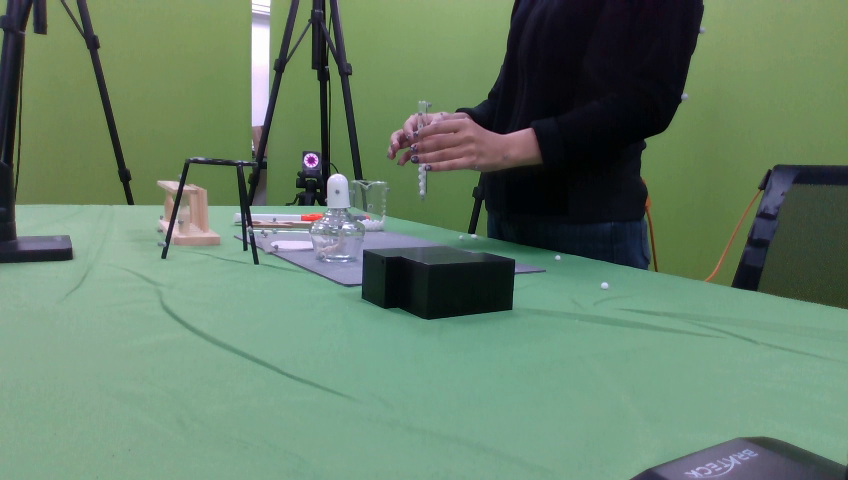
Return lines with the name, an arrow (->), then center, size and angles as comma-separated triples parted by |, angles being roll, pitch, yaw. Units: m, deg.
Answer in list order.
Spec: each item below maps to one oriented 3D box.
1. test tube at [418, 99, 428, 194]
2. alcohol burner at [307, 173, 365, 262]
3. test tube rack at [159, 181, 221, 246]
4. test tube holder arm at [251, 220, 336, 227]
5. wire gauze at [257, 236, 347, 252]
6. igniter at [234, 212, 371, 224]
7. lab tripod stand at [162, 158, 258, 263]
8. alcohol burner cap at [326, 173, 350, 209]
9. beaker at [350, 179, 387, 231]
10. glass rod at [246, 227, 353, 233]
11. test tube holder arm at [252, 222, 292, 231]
test tube -> -0.003, -0.148, 0.962 | 0.017, 0.150, 0.017 | 0, 5, 0
alcohol burner -> -0.117, -0.030, 0.813 | 0.078, 0.119, 0.078 | 4, 9, 0
test tube rack -> -0.395, -0.050, 1.010 | 0.067, 0.085, 0.241 | -2, 8, -28
test tube holder arm -> -0.253, -0.031, 1.156 | 0.179, 0.015, 0.013 | -2, 43, -30
wire gauze -> -0.190, 0.006, 0.931 | 0.122, 0.011, 0.124 | 1, 7, -21
igniter -> -0.246, -0.045, 1.248 | 0.278, 0.025, 0.057 | -1, -2, -25
lab tripod stand -> -0.265, -0.041, 0.802 | 0.148, 0.131, 0.148 | 4, 7, 0
alcohol burner cap -> -0.117, -0.065, 0.807 | 0.034, 0.048, 0.034 | -4, 10, 1
beaker -> -0.111, -0.069, 1.204 | 0.074, 0.100, 0.084 | 2, 8, 0
glass rod -> -0.224, -0.017, 1.108 | 0.201, 0.008, 0.008 | 1, 7, -27
test tube holder arm -> -0.291, -0.026, 1.129 | 0.088, 0.015, 0.010 | -2, 43, -30
